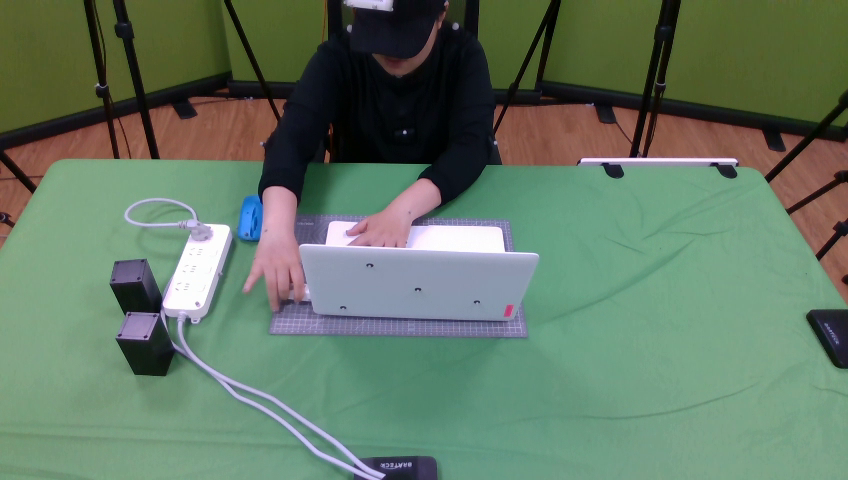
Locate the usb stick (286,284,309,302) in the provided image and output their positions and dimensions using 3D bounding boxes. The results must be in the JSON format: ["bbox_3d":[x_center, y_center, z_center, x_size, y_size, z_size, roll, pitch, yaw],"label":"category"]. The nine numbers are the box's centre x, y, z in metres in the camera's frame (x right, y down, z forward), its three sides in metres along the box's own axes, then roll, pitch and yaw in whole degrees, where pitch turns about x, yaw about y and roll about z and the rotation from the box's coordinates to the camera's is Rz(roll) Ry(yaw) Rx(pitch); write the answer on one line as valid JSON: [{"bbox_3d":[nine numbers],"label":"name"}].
[{"bbox_3d":[-0.213,0.094,1.071,0.059,0.027,0.021,6,49,-5],"label":"usb stick"}]

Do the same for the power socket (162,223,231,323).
[{"bbox_3d":[-0.412,0.051,1.107,0.072,0.033,0.225,4,46,-2],"label":"power socket"}]

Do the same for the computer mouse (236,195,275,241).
[{"bbox_3d":[-0.334,-0.047,1.207,0.063,0.041,0.116,2,50,-4],"label":"computer mouse"}]

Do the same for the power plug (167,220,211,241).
[{"bbox_3d":[-0.438,-0.017,1.143,0.072,0.053,0.035,10,43,7],"label":"power plug"}]

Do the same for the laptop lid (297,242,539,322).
[{"bbox_3d":[-0.012,0.074,0.962,0.357,0.243,0.013,3,57,-4],"label":"laptop lid"}]

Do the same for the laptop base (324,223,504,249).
[{"bbox_3d":[-0.018,0.055,1.145,0.354,0.023,0.234,2,41,-2],"label":"laptop base"}]
